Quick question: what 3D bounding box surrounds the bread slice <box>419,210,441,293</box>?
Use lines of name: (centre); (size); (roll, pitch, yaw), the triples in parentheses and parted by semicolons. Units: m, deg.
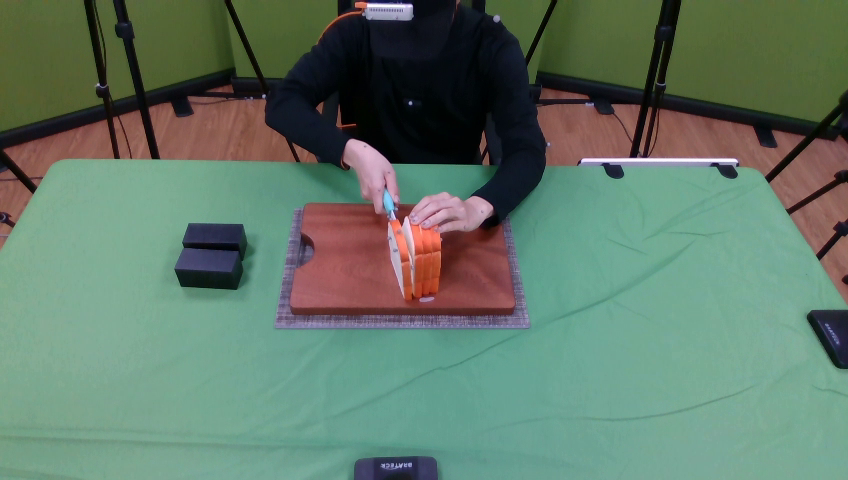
bread slice: (0.010, 0.015, 1.068); (0.018, 0.135, 0.106); (-3, 49, -10)

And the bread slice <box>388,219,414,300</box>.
bread slice: (-0.042, 0.028, 1.052); (0.019, 0.132, 0.104); (-14, 48, -9)

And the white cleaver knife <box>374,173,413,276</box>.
white cleaver knife: (-0.058, -0.028, 1.120); (0.021, 0.066, 0.284); (-7, 41, -12)
